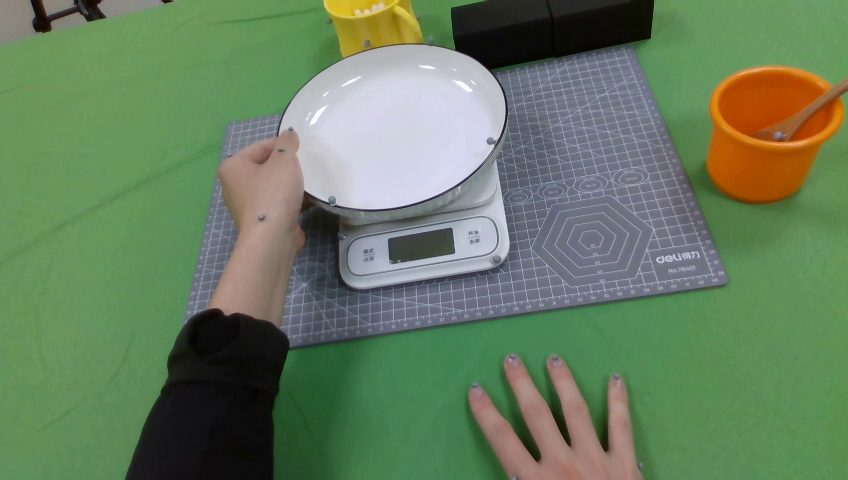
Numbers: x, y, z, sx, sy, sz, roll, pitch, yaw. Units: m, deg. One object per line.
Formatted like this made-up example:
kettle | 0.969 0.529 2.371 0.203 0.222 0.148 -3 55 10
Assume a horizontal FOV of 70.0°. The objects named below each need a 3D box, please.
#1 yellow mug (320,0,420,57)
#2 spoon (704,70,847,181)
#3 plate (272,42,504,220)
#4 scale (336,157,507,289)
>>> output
yellow mug | -0.052 -0.253 0.697 0.129 0.064 0.100 34 69 31
spoon | 0.298 -0.106 0.449 0.022 0.194 0.041 15 50 -30
plate | -0.032 -0.098 0.548 0.209 0.038 0.207 -4 55 6
scale | -0.009 -0.053 0.556 0.148 0.032 0.199 -10 53 8
